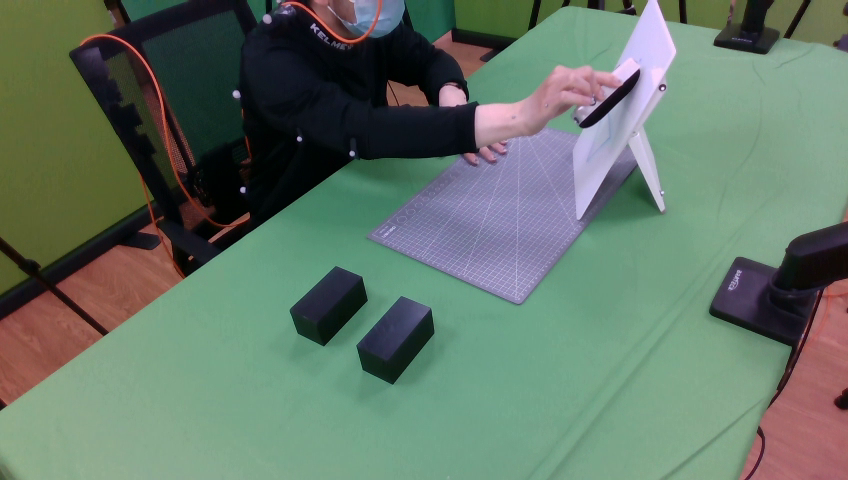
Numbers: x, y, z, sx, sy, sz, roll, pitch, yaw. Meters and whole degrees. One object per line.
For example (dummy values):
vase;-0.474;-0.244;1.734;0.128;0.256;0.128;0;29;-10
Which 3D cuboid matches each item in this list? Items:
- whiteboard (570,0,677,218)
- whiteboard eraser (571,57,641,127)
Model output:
whiteboard;0.364;-0.187;0.965;0.144;0.305;0.216;18;42;-3
whiteboard eraser;0.273;-0.217;0.900;0.112;0.056;0.042;-45;86;6
